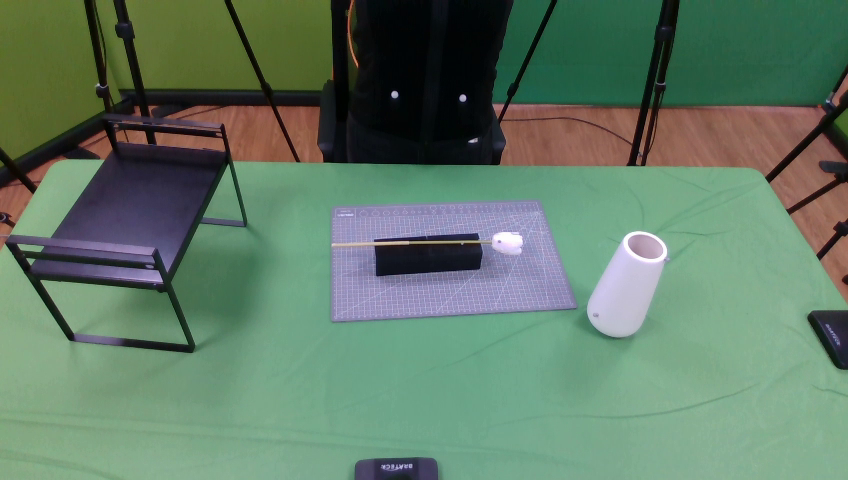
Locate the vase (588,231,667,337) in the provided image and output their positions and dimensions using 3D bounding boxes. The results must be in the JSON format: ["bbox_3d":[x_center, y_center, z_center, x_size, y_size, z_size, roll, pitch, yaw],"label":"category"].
[{"bbox_3d":[0.343,0.078,1.023,0.098,0.201,0.097,2,47,-2],"label":"vase"}]

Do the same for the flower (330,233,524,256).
[{"bbox_3d":[0.009,0.002,1.126,0.362,0.038,0.044,2,79,-7],"label":"flower"}]
